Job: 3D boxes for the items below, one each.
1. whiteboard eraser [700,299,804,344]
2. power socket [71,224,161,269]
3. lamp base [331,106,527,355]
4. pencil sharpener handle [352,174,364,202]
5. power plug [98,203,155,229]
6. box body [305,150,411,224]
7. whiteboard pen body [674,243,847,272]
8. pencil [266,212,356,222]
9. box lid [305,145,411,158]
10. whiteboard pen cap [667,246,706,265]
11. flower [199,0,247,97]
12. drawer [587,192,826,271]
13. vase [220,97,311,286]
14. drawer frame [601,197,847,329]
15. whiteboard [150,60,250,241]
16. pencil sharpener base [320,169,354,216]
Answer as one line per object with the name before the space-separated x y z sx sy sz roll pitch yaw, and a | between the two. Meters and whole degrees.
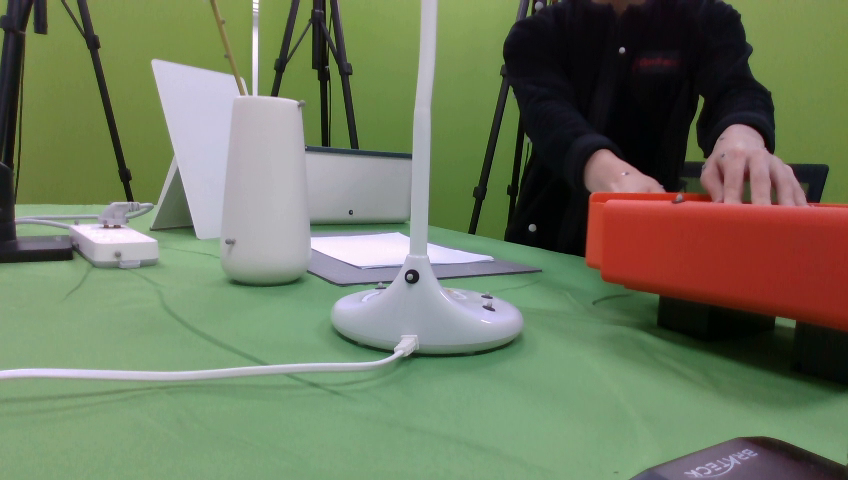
whiteboard eraser | 0.245 0.038 0.486 0.112 0.042 0.056 43 21 31
power socket | -0.408 0.004 0.793 0.072 0.032 0.225 -2 8 -38
lamp base | 0.006 -0.012 0.478 0.161 0.180 0.179 2 10 2
pencil sharpener handle | -0.157 -0.125 1.450 0.031 0.068 0.036 2 19 -11
power plug | -0.416 -0.026 0.848 0.073 0.052 0.035 1 7 -28
box body | -0.230 -0.126 1.371 0.366 0.160 0.253 -2 8 -33
whiteboard pen body | 0.295 0.014 0.531 0.140 0.017 0.017 5 8 25
pencil | -0.244 -0.049 1.319 0.195 0.012 0.012 4 7 -12
box lid | -0.228 -0.200 1.361 0.373 0.015 0.262 -1 8 -33
whiteboard pen cap | 0.242 0.015 0.558 0.033 0.018 0.018 3 7 26
flower | -0.187 -0.133 0.648 0.038 0.362 0.044 -1 21 42
drawer | 0.282 0.000 0.512 0.195 0.073 0.210 -1 7 -31
vase | -0.172 -0.052 0.662 0.098 0.200 0.098 3 8 0
drawer frame | 0.295 0.007 0.496 0.203 0.082 0.212 -1 6 -31
whiteboard | -0.408 -0.139 1.093 0.143 0.305 0.218 -15 -1 26
pencil sharpener base | -0.207 -0.113 1.438 0.077 0.107 0.061 2 6 -11
